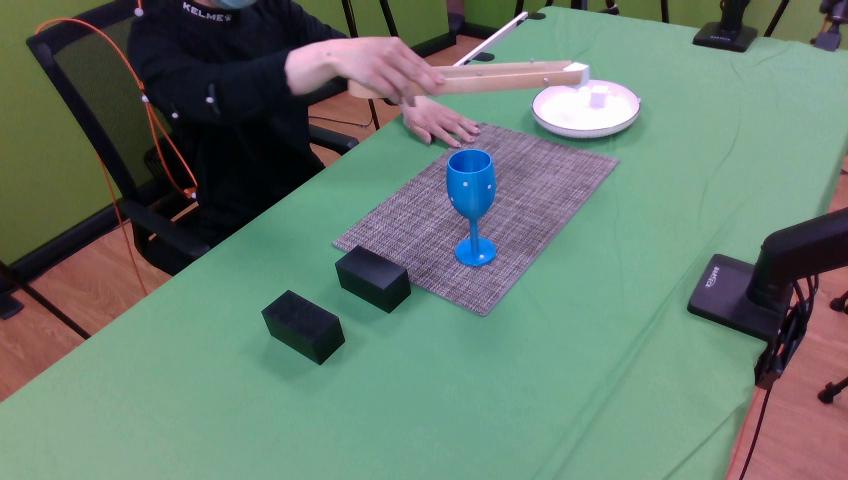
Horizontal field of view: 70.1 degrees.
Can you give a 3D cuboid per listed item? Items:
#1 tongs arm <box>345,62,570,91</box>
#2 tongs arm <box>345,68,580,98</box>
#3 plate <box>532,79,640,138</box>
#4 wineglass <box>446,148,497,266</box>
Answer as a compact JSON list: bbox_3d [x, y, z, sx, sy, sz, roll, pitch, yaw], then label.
[{"bbox_3d":[0.064,-0.264,0.976,0.386,0.026,0.050,-5,35,-12],"label":"tongs arm"},{"bbox_3d":[0.071,-0.251,0.957,0.389,0.028,0.028,-7,39,-15],"label":"tongs arm"},{"bbox_3d":[0.322,-0.259,1.212,0.209,0.038,0.208,-4,40,4],"label":"plate"},{"bbox_3d":[0.072,-0.046,0.889,0.074,0.173,0.073,-4,41,4],"label":"wineglass"}]
